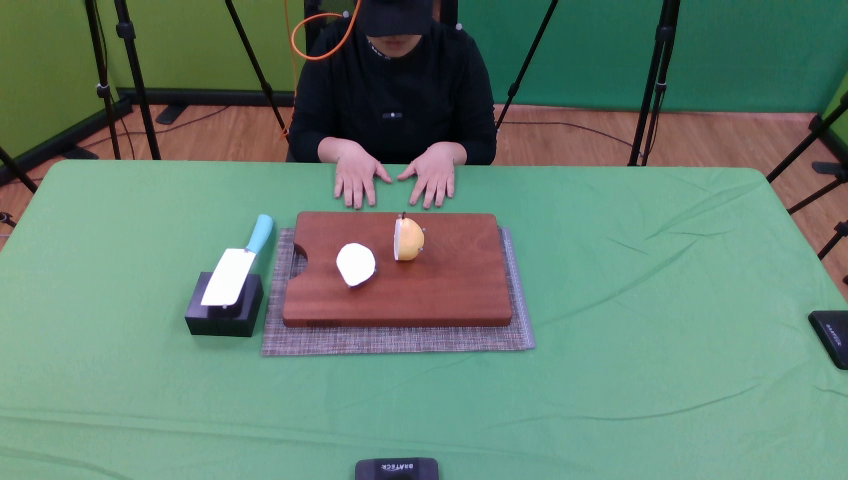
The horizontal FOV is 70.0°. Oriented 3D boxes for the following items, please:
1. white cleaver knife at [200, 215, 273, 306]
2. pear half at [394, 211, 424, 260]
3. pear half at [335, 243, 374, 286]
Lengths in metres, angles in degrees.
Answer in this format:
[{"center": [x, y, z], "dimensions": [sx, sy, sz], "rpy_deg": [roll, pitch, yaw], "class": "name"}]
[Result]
[{"center": [-0.335, 0.029, 1.101], "dimensions": [0.066, 0.021, 0.285], "rpy_deg": [6, 32, -1], "class": "white cleaver knife"}, {"center": [-0.027, -0.013, 1.109], "dimensions": [0.056, 0.110, 0.076], "rpy_deg": [-6, 51, -10], "class": "pear half"}, {"center": [-0.127, 0.049, 1.094], "dimensions": [0.070, 0.031, 0.087], "rpy_deg": [17, 59, -8], "class": "pear half"}]
